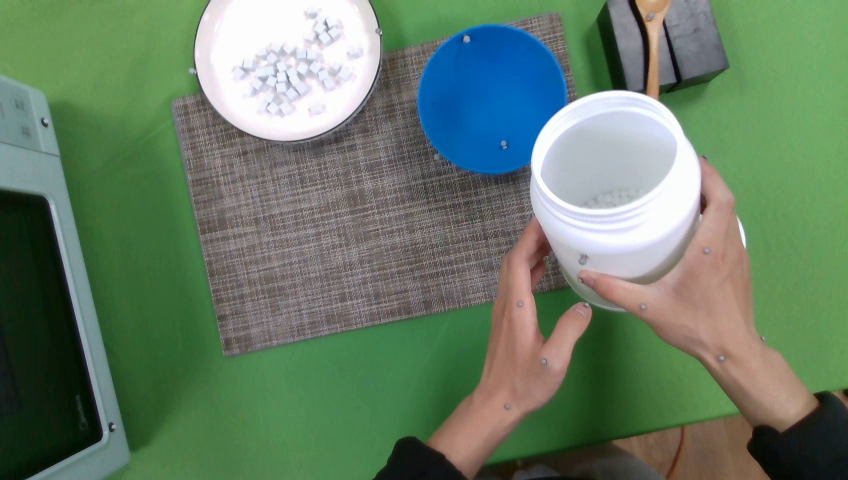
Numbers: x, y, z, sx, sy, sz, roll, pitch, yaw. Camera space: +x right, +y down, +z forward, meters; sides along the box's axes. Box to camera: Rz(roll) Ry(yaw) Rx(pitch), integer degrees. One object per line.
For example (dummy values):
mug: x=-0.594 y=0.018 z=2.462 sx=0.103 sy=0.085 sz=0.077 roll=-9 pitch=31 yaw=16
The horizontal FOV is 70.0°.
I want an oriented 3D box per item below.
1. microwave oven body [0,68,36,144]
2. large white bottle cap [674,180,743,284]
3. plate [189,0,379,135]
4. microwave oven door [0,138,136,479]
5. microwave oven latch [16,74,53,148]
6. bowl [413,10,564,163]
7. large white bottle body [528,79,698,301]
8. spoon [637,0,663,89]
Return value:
microwave oven body: x=-0.542 y=0.068 z=0.577 sx=0.326 sy=0.260 sz=0.441 roll=-15 pitch=90 yaw=2
large white bottle cap: x=0.289 y=-0.009 z=0.662 sx=0.115 sy=0.018 sz=0.115 roll=0 pitch=90 yaw=2
plate: x=-0.151 y=-0.215 z=0.668 sx=0.209 sy=0.038 sz=0.209 roll=0 pitch=88 yaw=3
microwave oven door: x=-0.390 y=0.072 z=0.566 sx=0.039 sy=0.244 sz=0.355 roll=-15 pitch=90 yaw=3
microwave oven latch: x=-0.438 y=-0.139 z=0.667 sx=0.030 sy=0.029 sz=0.079 roll=-14 pitch=90 yaw=2
bowl: x=0.066 y=-0.151 z=0.638 sx=0.151 sy=0.077 sz=0.151 roll=0 pitch=90 yaw=3
large white bottle body: x=0.163 y=-0.037 z=0.520 sx=0.130 sy=0.186 sz=0.129 roll=-10 pitch=62 yaw=19
spoon: x=0.229 y=-0.198 z=0.617 sx=0.041 sy=0.021 sz=0.194 roll=0 pitch=96 yaw=-1
